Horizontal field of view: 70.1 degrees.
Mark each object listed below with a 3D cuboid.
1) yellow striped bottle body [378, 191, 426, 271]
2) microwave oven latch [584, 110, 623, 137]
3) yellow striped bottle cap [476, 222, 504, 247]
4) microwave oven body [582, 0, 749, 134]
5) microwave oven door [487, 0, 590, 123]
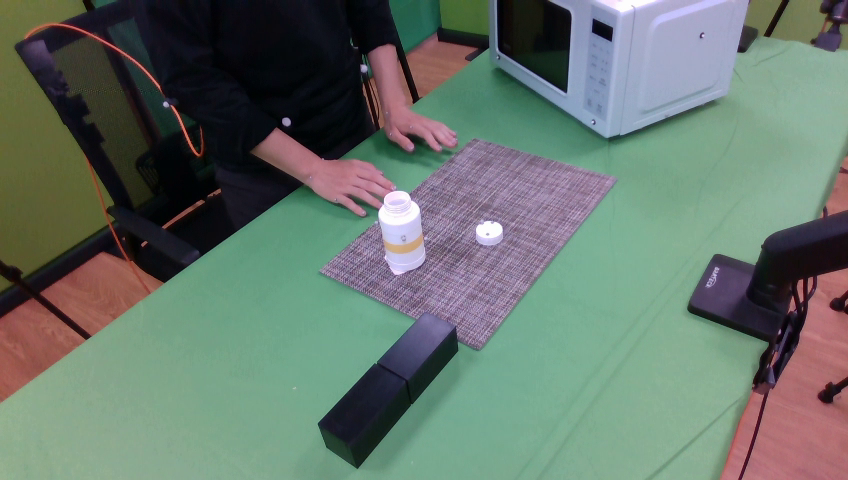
[{"bbox_3d":[-0.034,-0.016,0.910,0.063,0.121,0.062,-4,41,4],"label":"yellow striped bottle body"},{"bbox_3d":[0.337,-0.222,1.142,0.030,0.029,0.078,-21,42,-14],"label":"microwave oven latch"},{"bbox_3d":[0.105,-0.010,0.966,0.044,0.019,0.044,-3,39,3],"label":"yellow striped bottle cap"},{"bbox_3d":[0.382,-0.444,1.246,0.327,0.261,0.437,-22,42,-16],"label":"microwave oven body"},{"bbox_3d":[0.232,-0.420,1.231,0.039,0.245,0.352,-22,43,-16],"label":"microwave oven door"}]
